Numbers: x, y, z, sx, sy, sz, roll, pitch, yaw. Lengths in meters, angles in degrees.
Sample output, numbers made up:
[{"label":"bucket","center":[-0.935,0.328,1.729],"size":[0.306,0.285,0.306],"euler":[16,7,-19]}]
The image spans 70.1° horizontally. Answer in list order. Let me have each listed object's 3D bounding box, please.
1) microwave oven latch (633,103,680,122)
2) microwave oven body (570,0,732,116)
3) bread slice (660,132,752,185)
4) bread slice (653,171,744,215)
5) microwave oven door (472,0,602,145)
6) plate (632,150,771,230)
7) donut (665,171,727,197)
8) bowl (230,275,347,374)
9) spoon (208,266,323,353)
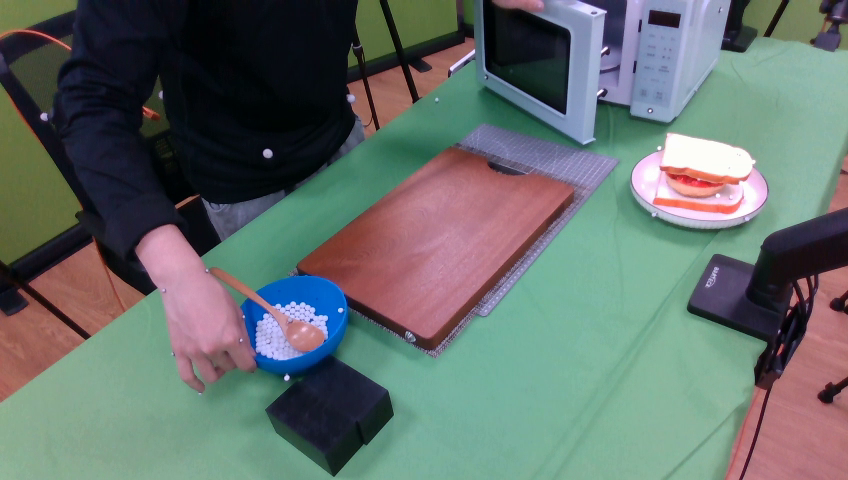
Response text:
[{"label":"microwave oven latch","center":[0.443,-0.249,1.157],"size":[0.078,0.029,0.030],"euler":[21,49,30]},{"label":"microwave oven body","center":[0.377,-0.463,1.267],"size":[0.438,0.261,0.327],"euler":[21,49,30]},{"label":"bread slice","center":[0.443,-0.127,0.951],"size":[0.134,0.018,0.107],"euler":[14,43,14]},{"label":"bread slice","center":[0.452,-0.084,0.992],"size":[0.131,0.019,0.105],"euler":[11,45,21]},{"label":"microwave oven door","center":[0.206,-0.362,1.166],"size":[0.039,0.245,0.352],"euler":[-25,44,-20]},{"label":"plate","center":[0.447,-0.081,0.988],"size":[0.207,0.039,0.206],"euler":[-4,40,4]},{"label":"donut","center":[0.440,-0.106,0.974],"size":[0.099,0.048,0.098],"euler":[-6,39,5]},{"label":"bowl","center":[-0.171,0.125,0.802],"size":[0.151,0.077,0.150],"euler":[-4,40,4]},{"label":"spoon","center":[-0.214,0.088,0.806],"size":[0.193,0.021,0.042],"euler":[36,61,10]}]
